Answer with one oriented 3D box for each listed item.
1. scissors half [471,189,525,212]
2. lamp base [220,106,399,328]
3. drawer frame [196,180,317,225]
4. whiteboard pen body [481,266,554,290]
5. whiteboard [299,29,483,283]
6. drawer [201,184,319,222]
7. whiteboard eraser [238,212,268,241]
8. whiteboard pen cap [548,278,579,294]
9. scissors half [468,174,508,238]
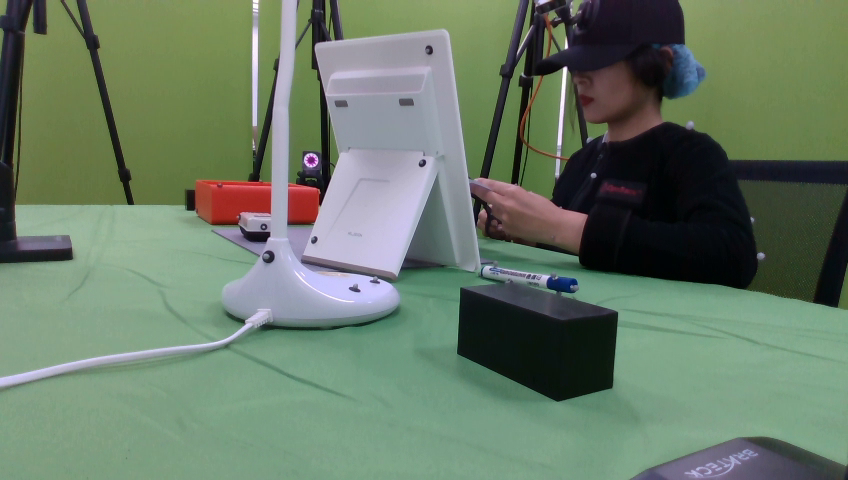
[{"bbox_3d":[0.127,-0.084,1.136,0.176,0.040,0.012,9,16,-36],"label":"scissors half"},{"bbox_3d":[-0.101,-0.023,0.531,0.160,0.180,0.179,4,10,10],"label":"lamp base"},{"bbox_3d":[-0.359,-0.083,1.292,0.215,0.082,0.200,-2,10,-30],"label":"drawer frame"},{"bbox_3d":[0.115,0.044,0.695,0.017,0.017,0.140,-3,6,-35],"label":"whiteboard pen body"},{"bbox_3d":[-0.074,-0.082,0.742,0.216,0.305,0.144,9,29,38],"label":"whiteboard"},{"bbox_3d":[-0.353,-0.082,1.296,0.213,0.073,0.193,-2,10,-28],"label":"drawer"},{"bbox_3d":[-0.272,-0.023,0.998,0.056,0.042,0.112,-2,9,-24],"label":"whiteboard eraser"},{"bbox_3d":[0.148,0.049,0.647,0.018,0.018,0.033,-3,3,-36],"label":"whiteboard pen cap"},{"bbox_3d":[0.114,-0.063,1.137,0.040,0.176,0.013,-44,37,-14],"label":"scissors half"}]
